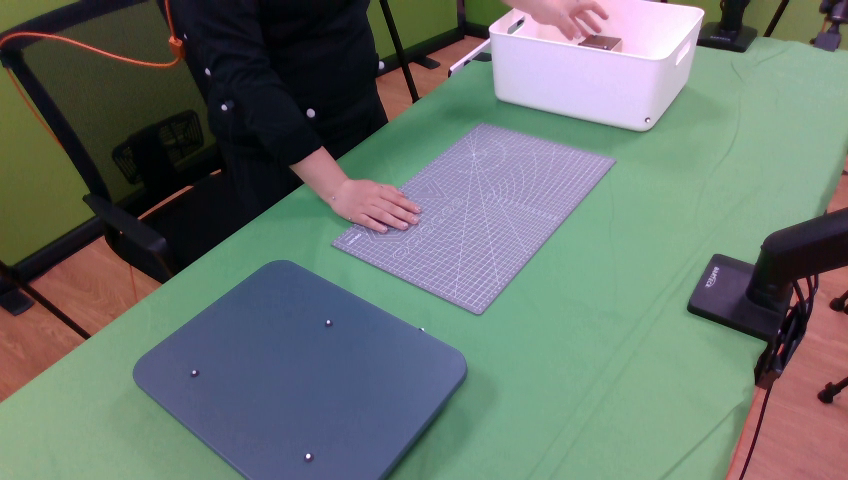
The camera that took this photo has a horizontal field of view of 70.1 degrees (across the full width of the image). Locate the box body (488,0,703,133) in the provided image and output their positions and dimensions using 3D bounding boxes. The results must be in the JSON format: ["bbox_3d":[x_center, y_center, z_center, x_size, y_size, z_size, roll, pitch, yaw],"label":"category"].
[{"bbox_3d":[0.346,-0.374,1.251,0.361,0.161,0.255,20,48,29],"label":"box body"}]

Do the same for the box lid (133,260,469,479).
[{"bbox_3d":[-0.156,0.161,0.747,0.368,0.015,0.264,23,49,31],"label":"box lid"}]

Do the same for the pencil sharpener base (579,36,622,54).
[{"bbox_3d":[0.364,-0.363,1.267,0.076,0.107,0.061,20,49,31],"label":"pencil sharpener base"}]

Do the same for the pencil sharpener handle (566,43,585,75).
[{"bbox_3d":[0.319,-0.385,1.283,0.030,0.068,0.036,20,37,31],"label":"pencil sharpener handle"}]
